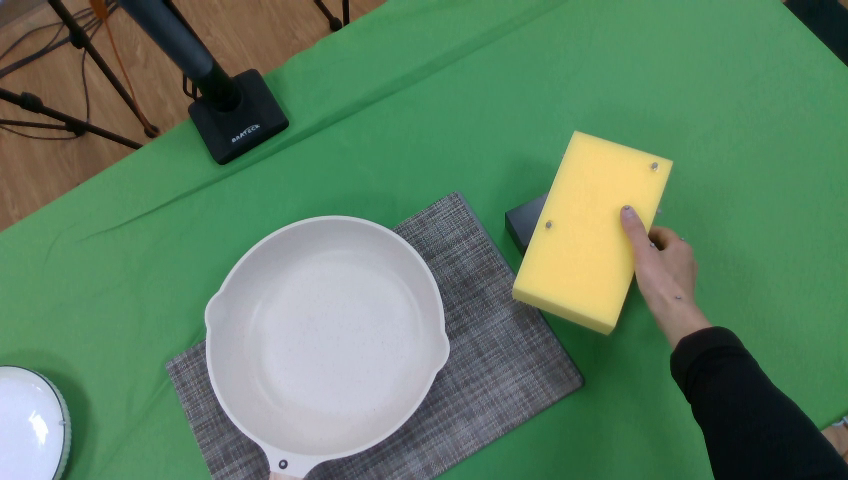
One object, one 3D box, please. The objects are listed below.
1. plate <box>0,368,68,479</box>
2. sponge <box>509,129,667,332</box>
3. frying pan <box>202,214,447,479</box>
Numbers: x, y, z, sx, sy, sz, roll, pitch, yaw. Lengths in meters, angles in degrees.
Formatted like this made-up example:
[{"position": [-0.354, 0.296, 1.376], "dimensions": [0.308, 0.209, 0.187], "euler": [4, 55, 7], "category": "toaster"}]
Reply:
[{"position": [-0.552, 0.271, 0.780], "dimensions": [0.207, 0.039, 0.206], "euler": [-2, 73, 6], "category": "plate"}, {"position": [0.190, -0.012, 0.706], "dimensions": [0.118, 0.061, 0.206], "euler": [20, 76, 13], "category": "sponge"}, {"position": [-0.143, 0.207, 0.708], "dimensions": [0.306, 0.103, 0.484], "euler": [9, 66, 11], "category": "frying pan"}]
